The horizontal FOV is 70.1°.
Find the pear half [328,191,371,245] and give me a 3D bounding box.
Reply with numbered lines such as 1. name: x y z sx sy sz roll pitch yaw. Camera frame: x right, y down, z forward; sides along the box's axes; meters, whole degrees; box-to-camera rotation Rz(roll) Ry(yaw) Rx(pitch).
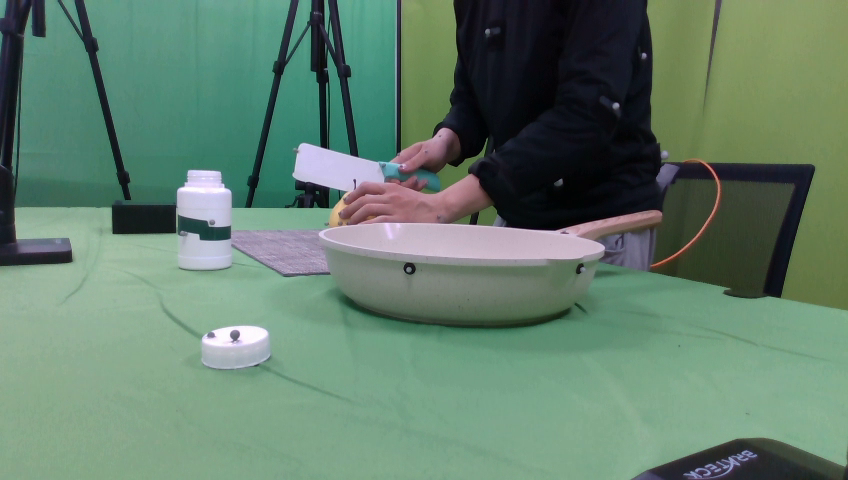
1. pear half: -0.124 -0.037 0.976 0.071 0.088 0.031 -5 10 -28

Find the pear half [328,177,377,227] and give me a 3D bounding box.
1. pear half: -0.108 -0.042 0.943 0.077 0.110 0.055 -5 11 -29

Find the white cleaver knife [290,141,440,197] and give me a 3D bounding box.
1. white cleaver knife: -0.088 -0.105 0.987 0.288 0.066 0.021 7 -5 -38

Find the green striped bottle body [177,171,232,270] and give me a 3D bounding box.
1. green striped bottle body: -0.272 -0.026 0.752 0.063 0.119 0.063 2 7 0

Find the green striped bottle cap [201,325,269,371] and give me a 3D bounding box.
1. green striped bottle cap: -0.129 0.073 0.415 0.044 0.020 0.044 3 8 0

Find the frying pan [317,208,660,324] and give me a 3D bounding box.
1. frying pan: 0.121 0.006 0.691 0.490 0.102 0.305 -13 15 -33
